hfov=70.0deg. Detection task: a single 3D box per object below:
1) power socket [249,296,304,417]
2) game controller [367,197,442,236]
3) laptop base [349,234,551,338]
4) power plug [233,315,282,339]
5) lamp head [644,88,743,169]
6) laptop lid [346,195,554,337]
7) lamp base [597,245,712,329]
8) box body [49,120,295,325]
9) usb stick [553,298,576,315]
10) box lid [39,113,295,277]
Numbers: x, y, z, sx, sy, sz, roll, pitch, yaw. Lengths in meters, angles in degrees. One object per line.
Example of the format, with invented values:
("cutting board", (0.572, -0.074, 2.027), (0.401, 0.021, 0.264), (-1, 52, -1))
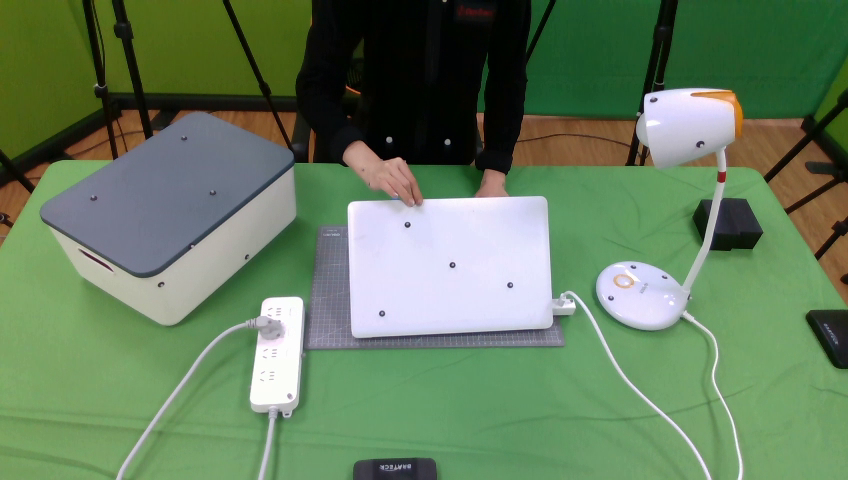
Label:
("power socket", (-0.239, 0.182, 0.996), (0.072, 0.033, 0.225), (-2, 47, -5))
("game controller", (-0.037, -0.057, 1.231), (0.155, 0.052, 0.096), (-2, 49, -6))
("laptop base", (0.039, 0.081, 1.126), (0.355, 0.023, 0.234), (-2, 43, -6))
("power plug", (-0.271, 0.143, 0.999), (0.072, 0.053, 0.035), (6, 47, 3))
("lamp head", (0.380, -0.161, 0.851), (0.122, 0.113, 0.112), (-4, 42, 25))
("laptop lid", (0.047, 0.042, 1.040), (0.357, 0.013, 0.241), (0, 87, -6))
("lamp base", (0.418, 0.051, 1.072), (0.179, 0.181, 0.160), (22, 49, 13))
("box body", (-0.437, -0.046, 1.110), (0.253, 0.161, 0.363), (24, 49, 19))
("usb stick", (0.240, 0.119, 1.085), (0.059, 0.027, 0.021), (-2, 51, -3))
("box lid", (-0.435, -0.096, 1.056), (0.262, 0.015, 0.370), (25, 48, 18))
